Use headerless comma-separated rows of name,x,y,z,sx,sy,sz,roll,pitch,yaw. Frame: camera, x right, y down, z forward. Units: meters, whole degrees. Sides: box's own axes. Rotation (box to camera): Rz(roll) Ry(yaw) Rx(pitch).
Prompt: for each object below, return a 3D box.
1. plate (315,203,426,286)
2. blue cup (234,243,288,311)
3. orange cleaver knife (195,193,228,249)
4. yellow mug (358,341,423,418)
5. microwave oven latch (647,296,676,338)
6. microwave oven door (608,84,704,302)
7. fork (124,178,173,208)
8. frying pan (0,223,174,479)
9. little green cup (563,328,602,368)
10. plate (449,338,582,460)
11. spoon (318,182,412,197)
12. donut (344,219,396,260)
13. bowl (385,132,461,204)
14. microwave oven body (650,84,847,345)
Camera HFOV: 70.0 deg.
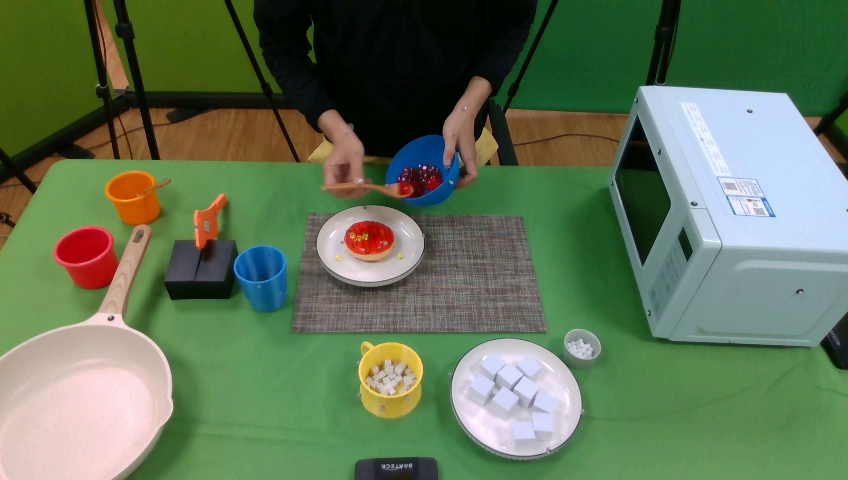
plate,-0.101,0.012,1.159,0.209,0.038,0.208,2,46,-2
blue cup,-0.276,0.072,1.052,0.093,0.101,0.092,1,48,-1
orange cleaver knife,-0.406,-0.041,1.163,0.012,0.077,0.210,0,18,-3
yellow mug,-0.062,0.210,0.961,0.100,0.064,0.130,-29,54,-27
microwave oven latch,0.413,0.133,1.060,0.030,0.029,0.078,4,46,1
microwave oven door,0.424,-0.096,1.138,0.039,0.245,0.353,2,46,-1
fork,-0.525,-0.090,1.153,0.207,0.019,0.028,-18,27,45
frying pan,-0.505,0.169,0.941,0.307,0.103,0.485,5,54,-1
little green cup,0.265,0.184,1.025,0.061,0.039,0.061,1,46,-1
plate,0.141,0.251,0.955,0.208,0.039,0.206,2,46,-2
spoon,-0.101,-0.094,1.073,0.194,0.022,0.041,1,42,-41
donut,-0.103,-0.002,1.157,0.099,0.048,0.098,3,43,-2
bowl,0.011,-0.123,1.162,0.151,0.077,0.150,-15,54,22
microwave oven body,0.569,-0.054,1.115,0.326,0.261,0.439,2,46,-1
